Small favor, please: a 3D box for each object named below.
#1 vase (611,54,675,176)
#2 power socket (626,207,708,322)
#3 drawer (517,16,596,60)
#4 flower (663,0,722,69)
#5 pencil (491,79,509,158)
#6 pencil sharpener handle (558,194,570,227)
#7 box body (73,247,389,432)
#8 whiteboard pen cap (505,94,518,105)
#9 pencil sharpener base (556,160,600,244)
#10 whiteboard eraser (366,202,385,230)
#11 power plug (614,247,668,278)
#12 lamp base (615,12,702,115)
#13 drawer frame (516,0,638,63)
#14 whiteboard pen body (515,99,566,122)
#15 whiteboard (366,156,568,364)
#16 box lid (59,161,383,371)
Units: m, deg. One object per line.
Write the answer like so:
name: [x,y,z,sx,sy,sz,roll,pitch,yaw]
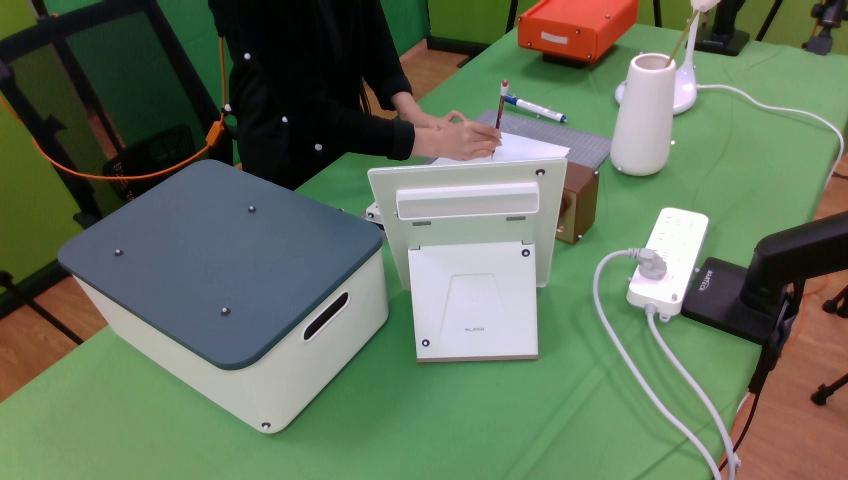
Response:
vase: [0.377,-0.209,1.031,0.098,0.201,0.097,-3,40,3]
power socket: [0.359,0.025,0.886,0.072,0.033,0.227,16,46,26]
drawer: [0.352,-0.506,1.405,0.193,0.073,0.212,23,49,32]
flower: [0.379,-0.261,0.965,0.044,0.362,0.038,21,53,5]
pencil: [0.132,-0.209,1.069,0.012,0.194,0.012,1,58,-1]
pencil sharpener handle: [0.195,-0.038,0.908,0.035,0.068,0.031,25,50,30]
box body: [-0.255,0.065,0.827,0.361,0.161,0.255,21,48,29]
whiteboard pen cap: [0.190,-0.299,1.292,0.033,0.018,0.018,30,52,28]
pencil sharpener base: [0.228,-0.057,0.945,0.061,0.107,0.077,24,50,31]
whiteboard eraser: [-0.038,-0.038,1.006,0.112,0.042,0.055,16,47,25]
power plug: [0.306,0.031,0.851,0.072,0.053,0.035,24,49,33]
lamp base: [0.484,-0.363,1.211,0.180,0.181,0.159,-15,41,-14]
drawer frame: [0.355,-0.508,1.411,0.200,0.083,0.214,23,51,32]
whiteboard pen body: [0.233,-0.274,1.262,0.139,0.017,0.017,28,51,29]
whiteboard: [0.059,0.050,0.738,0.217,0.307,0.143,-2,60,6]
box lid: [-0.261,0.010,0.777,0.369,0.015,0.264,21,48,29]
